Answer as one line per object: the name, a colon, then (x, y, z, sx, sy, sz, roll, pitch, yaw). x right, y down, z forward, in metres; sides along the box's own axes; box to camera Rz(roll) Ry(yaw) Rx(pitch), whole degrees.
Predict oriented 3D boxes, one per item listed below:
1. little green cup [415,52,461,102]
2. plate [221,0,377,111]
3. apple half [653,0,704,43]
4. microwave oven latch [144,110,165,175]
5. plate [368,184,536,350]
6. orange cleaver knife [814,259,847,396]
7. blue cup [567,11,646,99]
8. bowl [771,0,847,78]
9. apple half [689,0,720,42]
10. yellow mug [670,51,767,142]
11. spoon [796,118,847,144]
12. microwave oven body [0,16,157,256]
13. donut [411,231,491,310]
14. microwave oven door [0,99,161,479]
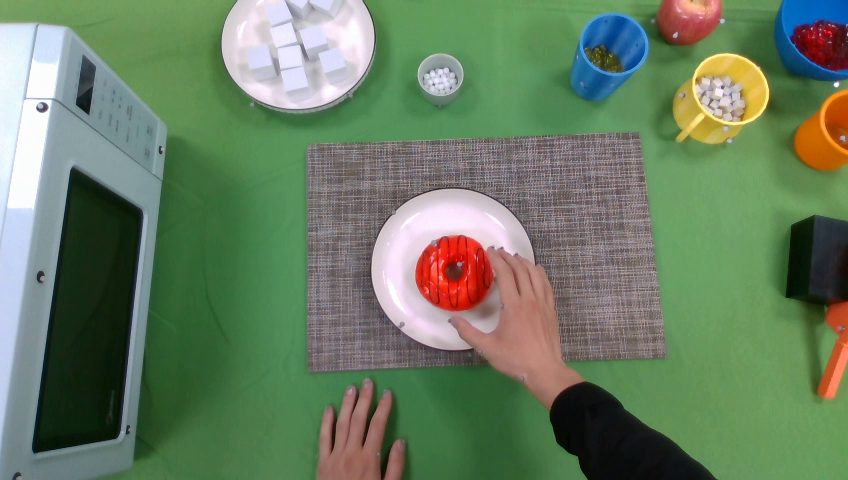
little green cup: (0.020, -0.218, 0.819, 0.061, 0.039, 0.061, 0, 78, 0)
plate: (-0.168, -0.269, 0.828, 0.208, 0.039, 0.206, 0, 78, 0)
apple half: (0.341, -0.310, 0.823, 0.053, 0.075, 0.080, 3, 81, 4)
microwave oven latch: (-0.352, -0.125, 0.778, 0.030, 0.029, 0.079, 2, 79, 0)
plate: (0.034, 0.033, 0.762, 0.209, 0.038, 0.208, 0, 78, 0)
orange cleaver knife: (0.511, 0.086, 0.735, 0.012, 0.077, 0.212, 12, 107, 5)
blue cup: (0.229, -0.233, 0.792, 0.093, 0.100, 0.092, 0, 79, -1)
bowl: (0.531, -0.277, 0.814, 0.151, 0.077, 0.150, 0, 79, 0)
apple half: (0.380, -0.309, 0.821, 0.033, 0.081, 0.081, 3, 77, 4)
yellow mug: (0.376, -0.178, 0.799, 0.131, 0.064, 0.099, -44, 81, -7)
spoon: (0.557, -0.120, 0.745, 0.041, 0.191, 0.022, -44, 125, -8)
microwave oven body: (-0.503, 0.025, 0.646, 0.326, 0.261, 0.439, 1, 79, -1)
donut: (0.034, 0.038, 0.749, 0.099, 0.048, 0.098, 0, 81, 1)
microwave oven door: (-0.357, 0.067, 0.633, 0.039, 0.245, 0.354, 0, 78, 0)
